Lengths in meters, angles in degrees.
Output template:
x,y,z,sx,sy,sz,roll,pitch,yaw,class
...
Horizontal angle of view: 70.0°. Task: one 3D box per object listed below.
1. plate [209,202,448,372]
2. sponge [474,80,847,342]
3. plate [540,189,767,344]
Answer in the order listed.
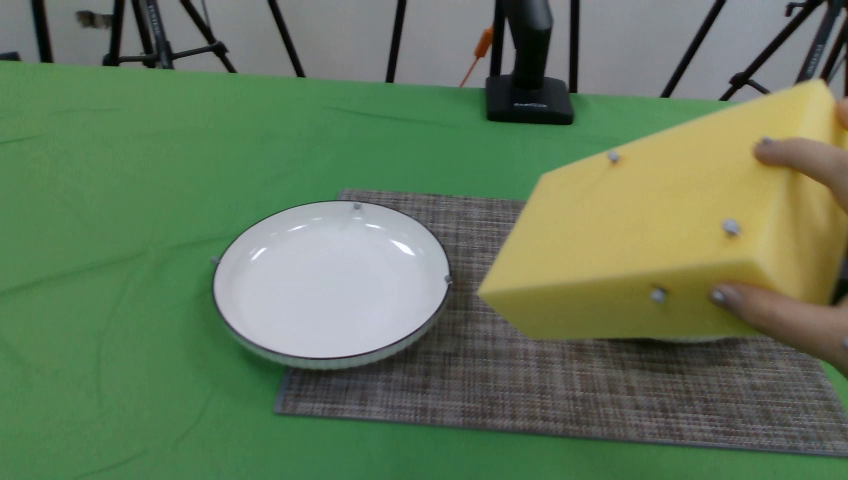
x,y,z,sx,sy,sz,roll,pitch,yaw,class
-0.082,0.040,0.548,0.209,0.038,0.207,2,40,-1,plate
0.135,-0.002,0.376,0.061,0.206,0.117,40,63,-20,sponge
0.214,0.025,0.585,0.208,0.039,0.205,2,40,-1,plate
